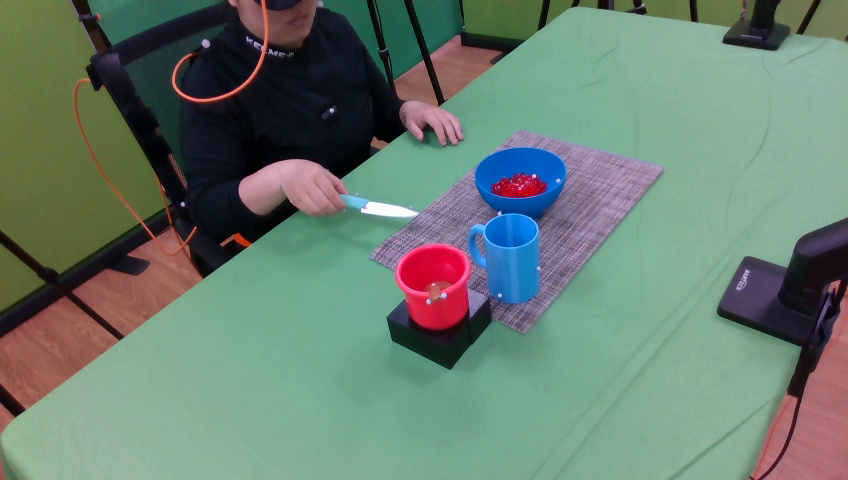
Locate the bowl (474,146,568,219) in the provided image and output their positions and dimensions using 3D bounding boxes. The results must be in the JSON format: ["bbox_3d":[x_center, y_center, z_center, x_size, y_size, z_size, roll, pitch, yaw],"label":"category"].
[{"bbox_3d":[0.161,-0.083,1.001,0.151,0.077,0.150,-5,40,5],"label":"bowl"}]

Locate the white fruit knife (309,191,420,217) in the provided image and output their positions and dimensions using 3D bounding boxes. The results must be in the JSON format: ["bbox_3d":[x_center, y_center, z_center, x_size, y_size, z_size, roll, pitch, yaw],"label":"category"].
[{"bbox_3d":[-0.100,-0.058,1.004,0.206,0.016,0.027,10,72,23],"label":"white fruit knife"}]

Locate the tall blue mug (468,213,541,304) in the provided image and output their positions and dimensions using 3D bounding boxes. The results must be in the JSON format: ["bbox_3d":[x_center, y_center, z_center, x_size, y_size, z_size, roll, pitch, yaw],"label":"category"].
[{"bbox_3d":[0.111,0.026,0.856,0.107,0.108,0.077,2,42,13],"label":"tall blue mug"}]

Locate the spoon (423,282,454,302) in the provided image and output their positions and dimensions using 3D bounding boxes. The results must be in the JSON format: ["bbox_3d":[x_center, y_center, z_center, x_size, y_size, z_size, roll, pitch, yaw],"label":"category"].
[{"bbox_3d":[0.015,0.062,0.733,0.041,0.021,0.194,-5,-4,3],"label":"spoon"}]
